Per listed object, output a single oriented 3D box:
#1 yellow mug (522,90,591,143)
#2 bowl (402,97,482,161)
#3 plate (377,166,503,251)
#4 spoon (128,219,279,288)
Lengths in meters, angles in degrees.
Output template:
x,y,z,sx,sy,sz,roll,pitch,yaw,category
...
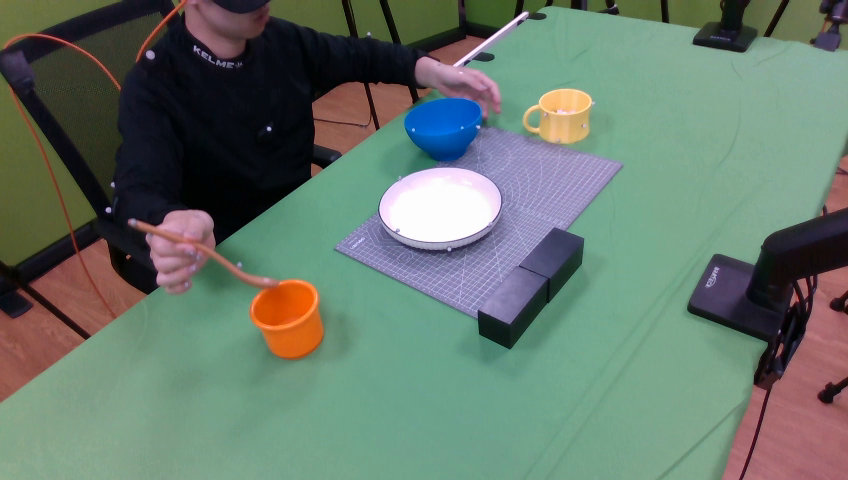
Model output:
x,y,z,sx,sy,sz,roll,pitch,yaw,category
0.257,-0.239,1.177,0.131,0.064,0.099,-6,41,3,yellow mug
0.040,-0.204,1.155,0.151,0.077,0.150,-7,38,6,bowl
0.027,-0.050,1.007,0.209,0.038,0.208,-4,41,4,plate
-0.261,0.018,0.732,0.041,0.195,0.021,15,74,55,spoon
